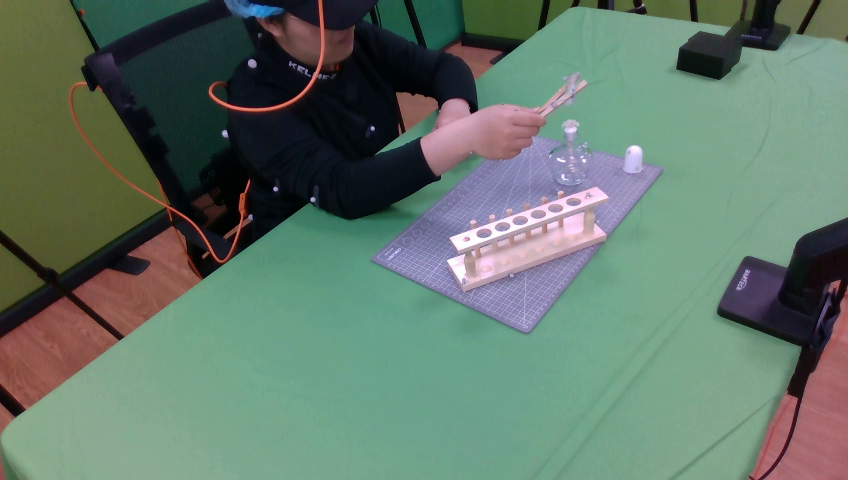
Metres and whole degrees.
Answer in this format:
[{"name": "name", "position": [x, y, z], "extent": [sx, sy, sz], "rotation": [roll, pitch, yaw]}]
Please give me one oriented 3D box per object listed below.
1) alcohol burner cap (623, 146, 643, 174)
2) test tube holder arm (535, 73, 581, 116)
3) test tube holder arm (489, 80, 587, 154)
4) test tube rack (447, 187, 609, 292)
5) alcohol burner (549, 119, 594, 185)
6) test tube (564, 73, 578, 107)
[{"name": "alcohol burner cap", "position": [0.369, -0.142, 1.062], "extent": [0.034, 0.048, 0.033], "rotation": [-7, 41, 6]}, {"name": "test tube holder arm", "position": [0.205, -0.221, 0.930], "extent": [0.087, 0.015, 0.010], "rotation": [-45, 80, 15]}, {"name": "test tube holder arm", "position": [0.175, -0.189, 0.941], "extent": [0.178, 0.015, 0.013], "rotation": [-37, 82, 16]}, {"name": "test tube rack", "position": [0.155, -0.011, 0.913], "extent": [0.243, 0.085, 0.066], "rotation": [-19, 41, -11]}, {"name": "alcohol burner", "position": [0.254, -0.155, 1.043], "extent": [0.078, 0.120, 0.077], "rotation": [-7, 40, 6]}, {"name": "test tube", "position": [0.229, -0.231, 0.942], "extent": [0.017, 0.017, 0.150], "rotation": [-1, -2, 11]}]
